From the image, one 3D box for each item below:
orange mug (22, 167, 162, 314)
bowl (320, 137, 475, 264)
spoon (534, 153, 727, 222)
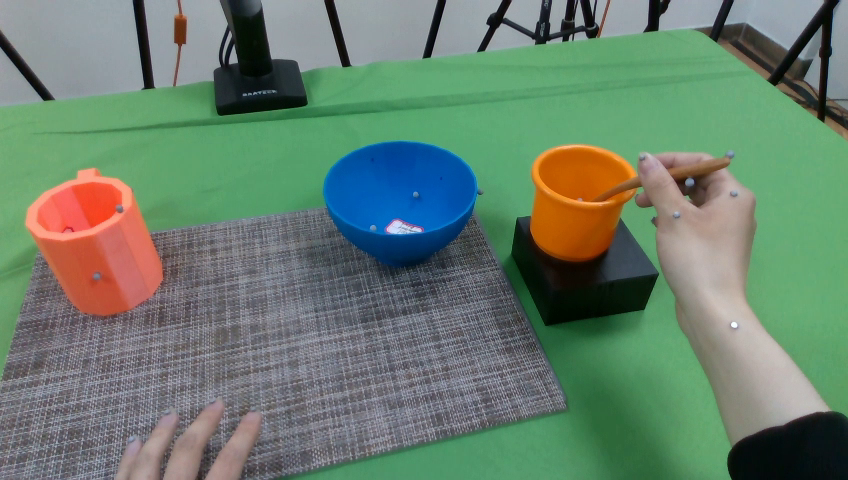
[{"bbox_3d":[-0.304,-0.008,0.564,0.083,0.101,0.125,-14,50,-16],"label":"orange mug"},{"bbox_3d":[-0.026,-0.029,0.608,0.151,0.077,0.150,1,43,-1],"label":"bowl"},{"bbox_3d":[0.161,-0.043,0.506,0.041,0.193,0.022,-37,97,-30],"label":"spoon"}]
